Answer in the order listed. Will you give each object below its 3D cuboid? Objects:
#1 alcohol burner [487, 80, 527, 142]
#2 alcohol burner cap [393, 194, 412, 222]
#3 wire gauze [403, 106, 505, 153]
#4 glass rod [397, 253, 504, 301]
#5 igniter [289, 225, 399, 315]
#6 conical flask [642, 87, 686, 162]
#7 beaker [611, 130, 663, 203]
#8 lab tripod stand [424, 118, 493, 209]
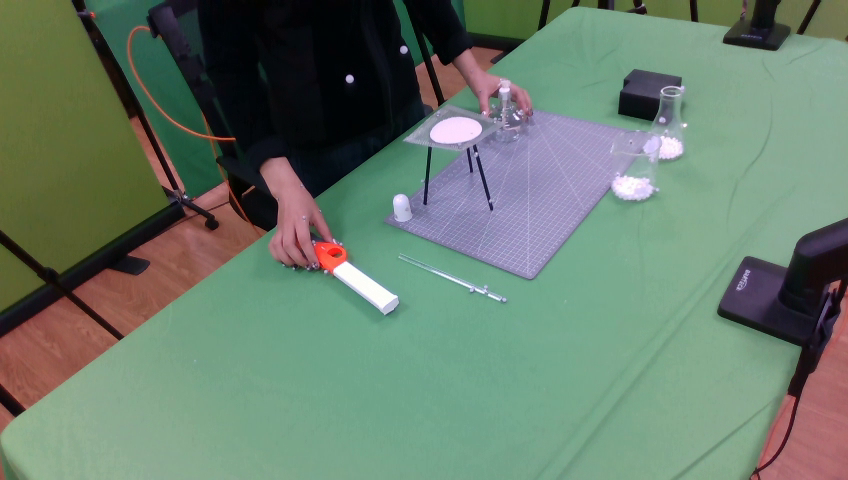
[{"bbox_3d":[0.160,-0.254,1.178,0.078,0.119,0.077,-7,39,6],"label":"alcohol burner"},{"bbox_3d":[-0.039,-0.057,1.038,0.034,0.048,0.033,-5,40,5],"label":"alcohol burner cap"},{"bbox_3d":[0.049,-0.181,0.992,0.120,0.011,0.125,23,48,34],"label":"wire gauze"},{"bbox_3d":[0.036,0.054,0.922,0.198,0.008,0.008,22,50,30],"label":"glass rod"},{"bbox_3d":[-0.137,0.040,0.959,0.057,0.025,0.274,-34,45,-27],"label":"igniter"},{"bbox_3d":[0.429,-0.206,1.067,0.075,0.122,0.075,-6,40,6],"label":"conical flask"},{"bbox_3d":[0.346,-0.118,0.998,0.084,0.101,0.073,-17,40,-7],"label":"beaker"},{"bbox_3d":[0.061,-0.133,1.038,0.148,0.132,0.147,-6,38,6],"label":"lab tripod stand"}]
